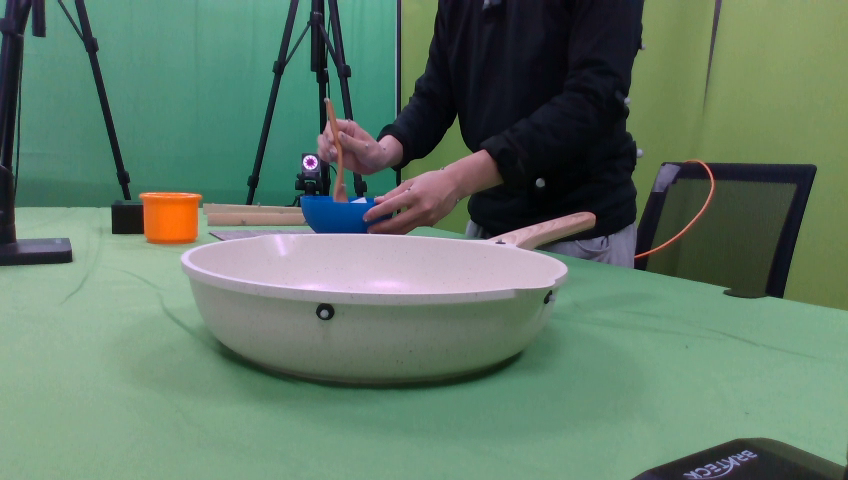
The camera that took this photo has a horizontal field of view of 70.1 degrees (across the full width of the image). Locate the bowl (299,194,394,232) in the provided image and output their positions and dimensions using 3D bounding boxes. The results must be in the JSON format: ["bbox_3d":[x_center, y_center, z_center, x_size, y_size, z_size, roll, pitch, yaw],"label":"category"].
[{"bbox_3d":[-0.123,-0.029,0.960,0.151,0.077,0.151,3,7,0],"label":"bowl"}]

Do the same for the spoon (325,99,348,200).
[{"bbox_3d":[-0.138,-0.128,0.970,0.021,0.193,0.042,-1,9,25],"label":"spoon"}]

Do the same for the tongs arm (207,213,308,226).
[{"bbox_3d":[-0.264,-0.046,1.297,0.390,0.028,0.028,-2,7,-32],"label":"tongs arm"}]

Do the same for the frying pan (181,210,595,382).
[{"bbox_3d":[0.034,0.019,0.557,0.305,0.102,0.490,10,19,42],"label":"frying pan"}]

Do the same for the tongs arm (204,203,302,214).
[{"bbox_3d":[-0.295,-0.062,1.370,0.386,0.026,0.050,1,9,-19],"label":"tongs arm"}]
